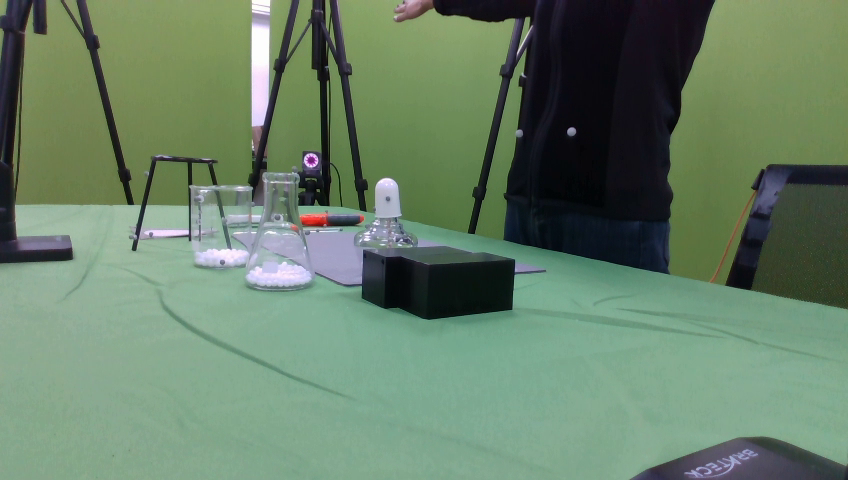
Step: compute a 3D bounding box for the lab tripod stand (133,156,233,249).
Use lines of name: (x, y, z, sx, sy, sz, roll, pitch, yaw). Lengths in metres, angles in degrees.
lab tripod stand: (-0.342, -0.054, 0.878, 0.148, 0.131, 0.148, 4, 6, 0)

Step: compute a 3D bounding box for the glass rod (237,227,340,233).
glass rod: (-0.247, -0.020, 1.124, 0.201, 0.008, 0.008, -2, 8, -34)

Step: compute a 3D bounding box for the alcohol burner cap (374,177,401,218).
alcohol burner cap: (-0.044, -0.049, 0.704, 0.034, 0.048, 0.034, -4, 10, 1)

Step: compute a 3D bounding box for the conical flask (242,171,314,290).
conical flask: (-0.154, -0.011, 0.643, 0.075, 0.122, 0.075, 2, 7, 0)

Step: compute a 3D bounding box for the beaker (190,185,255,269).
beaker: (-0.253, -0.018, 0.754, 0.083, 0.100, 0.074, 6, 8, 32)

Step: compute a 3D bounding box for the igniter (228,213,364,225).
igniter: (-0.252, -0.043, 1.227, 0.278, 0.025, 0.057, -2, -2, -32)

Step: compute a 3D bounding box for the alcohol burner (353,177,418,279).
alcohol burner: (-0.044, -0.014, 0.710, 0.078, 0.119, 0.078, 4, 9, 0)

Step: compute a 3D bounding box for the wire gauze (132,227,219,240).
wire gauze: (-0.421, -0.014, 1.024, 0.122, 0.011, 0.124, -2, 7, -34)
